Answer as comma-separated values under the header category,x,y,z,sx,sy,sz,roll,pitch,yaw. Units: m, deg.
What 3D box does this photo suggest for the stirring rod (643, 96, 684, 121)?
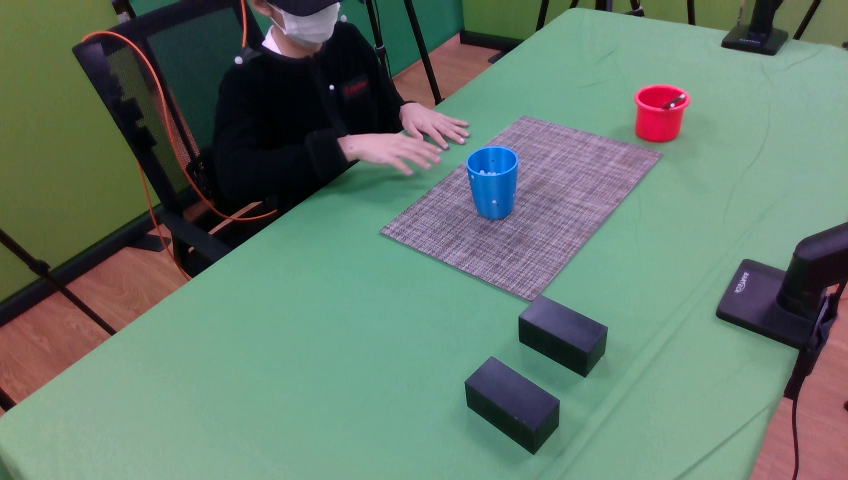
category,x,y,z,sx,sy,sz,roll,pitch,yaw
stirring rod,0.433,-0.238,1.100,0.014,0.006,0.176,-2,-1,2

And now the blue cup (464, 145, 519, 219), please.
category,x,y,z,sx,sy,sz,roll,pitch,yaw
blue cup,0.115,-0.090,0.996,0.092,0.101,0.092,-5,41,5
